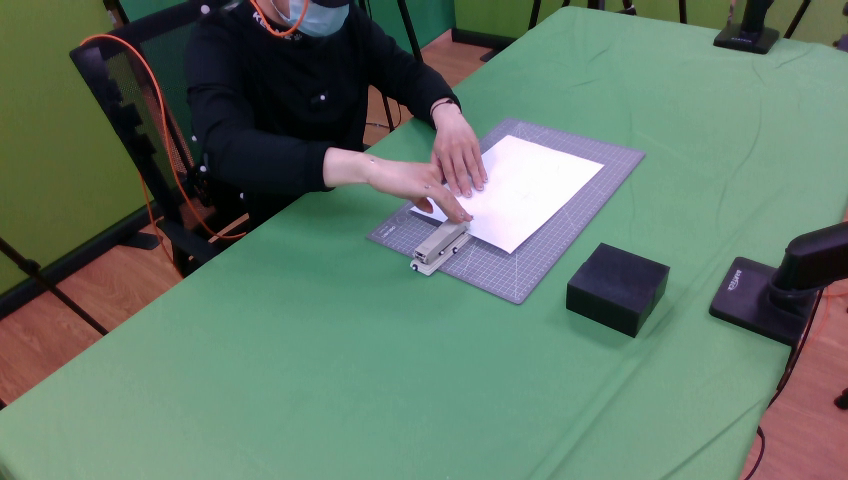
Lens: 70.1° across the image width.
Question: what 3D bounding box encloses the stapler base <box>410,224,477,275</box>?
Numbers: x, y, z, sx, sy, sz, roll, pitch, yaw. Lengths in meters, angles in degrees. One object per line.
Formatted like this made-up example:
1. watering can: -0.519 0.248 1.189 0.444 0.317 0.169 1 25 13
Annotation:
1. stapler base: 0.032 0.004 0.956 0.041 0.024 0.131 23 50 35

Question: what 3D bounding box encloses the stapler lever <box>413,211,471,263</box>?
1. stapler lever: 0.031 -0.007 0.945 0.026 0.040 0.118 23 41 35
